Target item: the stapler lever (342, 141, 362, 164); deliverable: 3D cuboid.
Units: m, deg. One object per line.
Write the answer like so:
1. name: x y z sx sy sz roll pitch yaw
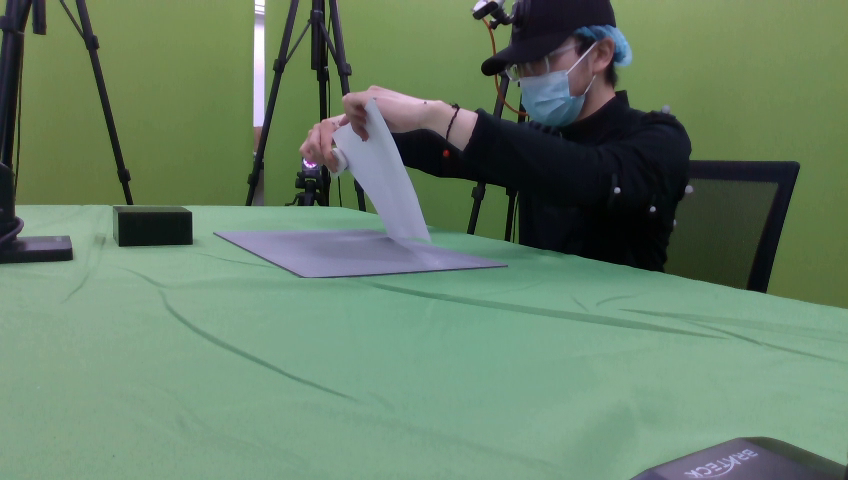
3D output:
1. stapler lever: -0.142 -0.156 1.115 0.040 0.027 0.118 -30 6 -12

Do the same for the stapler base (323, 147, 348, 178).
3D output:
1. stapler base: -0.157 -0.145 1.108 0.024 0.041 0.130 -31 6 -18
